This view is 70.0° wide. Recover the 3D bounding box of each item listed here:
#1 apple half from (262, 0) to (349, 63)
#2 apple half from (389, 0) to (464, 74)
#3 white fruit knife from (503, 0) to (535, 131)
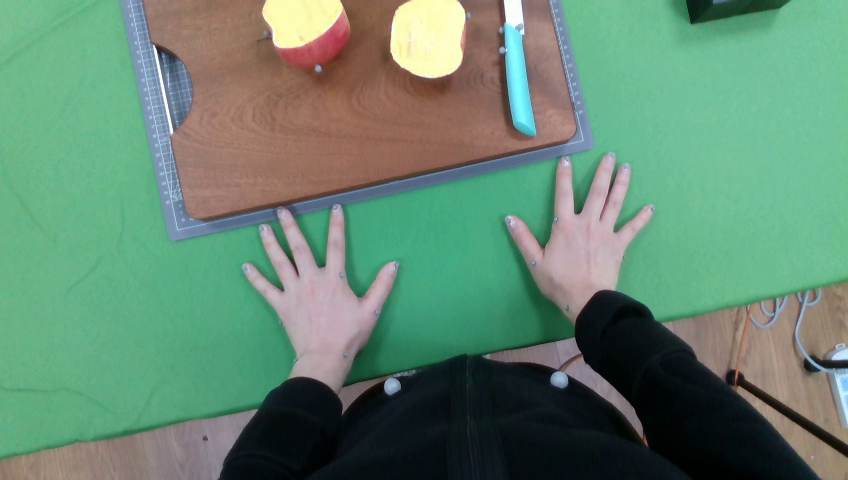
[{"bbox_3d":[-0.109,-0.205,0.581,0.074,0.054,0.080,-30,64,0],"label":"apple half"},{"bbox_3d":[0.005,-0.202,0.596,0.081,0.033,0.081,1,98,11],"label":"apple half"},{"bbox_3d":[0.089,-0.212,0.608,0.027,0.016,0.207,-4,86,-30],"label":"white fruit knife"}]
